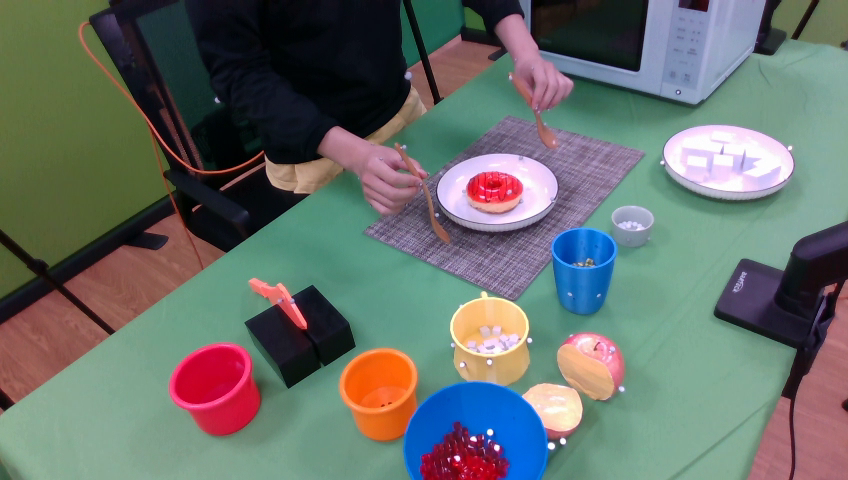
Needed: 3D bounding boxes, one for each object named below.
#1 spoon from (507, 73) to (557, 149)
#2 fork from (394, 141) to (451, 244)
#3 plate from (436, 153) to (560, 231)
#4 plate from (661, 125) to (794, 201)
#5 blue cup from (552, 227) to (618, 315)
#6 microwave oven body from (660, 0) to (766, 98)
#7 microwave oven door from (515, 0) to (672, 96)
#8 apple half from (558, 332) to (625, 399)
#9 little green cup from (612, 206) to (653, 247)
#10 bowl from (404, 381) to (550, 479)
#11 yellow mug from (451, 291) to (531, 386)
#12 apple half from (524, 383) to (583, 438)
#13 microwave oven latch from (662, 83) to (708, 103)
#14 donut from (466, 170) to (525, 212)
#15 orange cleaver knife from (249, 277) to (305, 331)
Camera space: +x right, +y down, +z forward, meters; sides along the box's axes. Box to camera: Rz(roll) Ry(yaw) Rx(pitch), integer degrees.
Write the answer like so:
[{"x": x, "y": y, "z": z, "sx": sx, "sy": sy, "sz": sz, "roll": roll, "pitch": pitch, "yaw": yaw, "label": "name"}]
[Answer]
[{"x": 0.189, "y": -0.221, "z": 1.040, "sx": 0.021, "sy": 0.195, "sz": 0.041, "roll": -8, "pitch": 56, "yaw": 29, "label": "spoon"}, {"x": 0.000, "y": -0.066, "z": 0.894, "sx": 0.018, "sy": 0.209, "sz": 0.028, "roll": -14, "pitch": 44, "yaw": 13, "label": "fork"}, {"x": 0.125, "y": -0.078, "z": 1.029, "sx": 0.209, "sy": 0.038, "sz": 0.208, "roll": -4, "pitch": 40, "yaw": 4, "label": "plate"}, {"x": 0.513, "y": -0.128, "z": 1.035, "sx": 0.207, "sy": 0.039, "sz": 0.206, "roll": -4, "pitch": 40, "yaw": 4, "label": "plate"}, {"x": 0.218, "y": 0.047, "z": 0.825, "sx": 0.092, "sy": 0.100, "sz": 0.092, "roll": -6, "pitch": 39, "yaw": 5, "label": "blue cup"}, {"x": 0.472, "y": -0.513, "z": 1.317, "sx": 0.438, "sy": 0.261, "sz": 0.327, "roll": 26, "pitch": 51, "yaw": 34, "label": "microwave oven body"}, {"x": 0.343, "y": -0.455, "z": 1.259, "sx": 0.353, "sy": 0.245, "sz": 0.039, "roll": 26, "pitch": 51, "yaw": 33, "label": "microwave oven door"}, {"x": 0.209, "y": 0.147, "z": 0.731, "sx": 0.080, "sy": 0.075, "sz": 0.053, "roll": 25, "pitch": 46, "yaw": 38, "label": "apple half"}, {"x": 0.321, "y": -0.019, "z": 0.936, "sx": 0.061, "sy": 0.039, "sz": 0.061, "roll": -4, "pitch": 41, "yaw": 4, "label": "little green cup"}, {"x": 0.058, "y": 0.235, "z": 0.645, "sx": 0.151, "sy": 0.077, "sz": 0.150, "roll": -4, "pitch": 39, "yaw": 4, "label": "bowl"}, {"x": 0.086, "y": 0.120, "z": 0.786, "sx": 0.100, "sy": 0.064, "sz": 0.130, "roll": -7, "pitch": 39, "yaw": 1, "label": "yellow mug"}, {"x": 0.149, "y": 0.204, "z": 0.704, "sx": 0.081, "sy": 0.033, "sz": 0.081, "roll": -10, "pitch": 25, "yaw": 5, "label": "apple half"}, {"x": 0.518, "y": -0.297, "z": 1.204, "sx": 0.078, "sy": 0.029, "sz": 0.030, "roll": 29, "pitch": 53, "yaw": 36, "label": "microwave oven latch"}, {"x": 0.121, "y": -0.084, "z": 1.019, "sx": 0.099, "sy": 0.048, "sz": 0.098, "roll": -4, "pitch": 39, "yaw": 3, "label": "donut"}, {"x": -0.210, "y": 0.088, "z": 0.856, "sx": 0.012, "sy": 0.077, "sz": 0.210, "roll": -28, "pitch": 15, "yaw": -25, "label": "orange cleaver knife"}]
